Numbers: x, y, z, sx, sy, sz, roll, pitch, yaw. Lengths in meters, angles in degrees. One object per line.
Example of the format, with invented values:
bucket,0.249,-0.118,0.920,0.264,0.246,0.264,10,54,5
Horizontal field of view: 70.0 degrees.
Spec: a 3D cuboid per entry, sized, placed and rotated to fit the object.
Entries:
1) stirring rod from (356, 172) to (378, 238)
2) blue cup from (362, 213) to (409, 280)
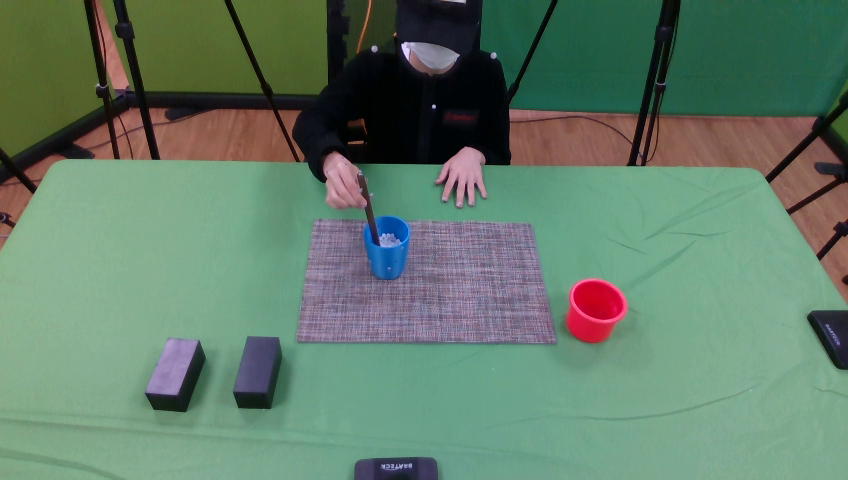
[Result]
stirring rod,-0.095,-0.048,1.040,0.014,0.177,0.006,15,50,22
blue cup,-0.069,0.020,1.113,0.093,0.101,0.092,1,46,-1
